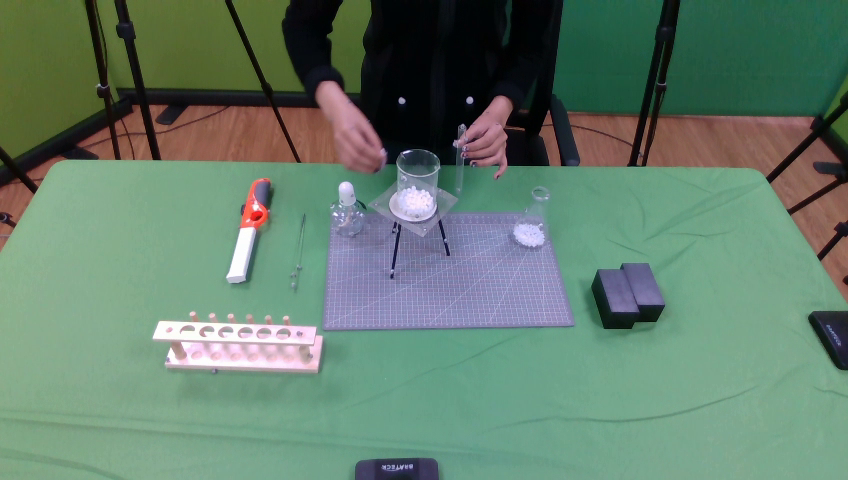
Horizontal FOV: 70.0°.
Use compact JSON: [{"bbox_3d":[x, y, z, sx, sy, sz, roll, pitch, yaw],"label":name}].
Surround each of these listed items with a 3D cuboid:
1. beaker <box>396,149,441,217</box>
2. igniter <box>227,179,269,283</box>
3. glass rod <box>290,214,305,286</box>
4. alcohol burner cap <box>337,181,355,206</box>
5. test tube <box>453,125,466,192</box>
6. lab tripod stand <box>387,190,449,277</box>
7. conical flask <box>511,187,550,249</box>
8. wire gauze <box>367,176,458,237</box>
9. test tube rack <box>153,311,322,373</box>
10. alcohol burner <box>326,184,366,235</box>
[{"bbox_3d":[-0.015,-0.098,1.053,0.074,0.101,0.083,-31,55,-30],"label":"beaker"},{"bbox_3d":[-0.345,-0.027,1.195,0.057,0.025,0.274,-6,46,5],"label":"igniter"},{"bbox_3d":[-0.245,0.015,1.176,0.008,0.008,0.198,1,43,-3],"label":"glass rod"},{"bbox_3d":[-0.151,-0.090,1.158,0.034,0.048,0.033,0,52,0],"label":"alcohol burner cap"},{"bbox_3d":[0.066,-0.150,1.136,0.017,0.151,0.017,1,45,-1],"label":"test tube"},{"bbox_3d":[-0.021,-0.018,1.135,0.148,0.132,0.147,3,44,-3],"label":"lab tripod stand"},{"bbox_3d":[0.217,-0.048,1.190,0.075,0.122,0.075,2,46,-2],"label":"conical flask"},{"bbox_3d":[-0.021,-0.066,1.089,0.124,0.011,0.121,27,47,22],"label":"wire gauze"},{"bbox_3d":[-0.293,0.160,0.978,0.242,0.085,0.066,3,46,-2],"label":"test tube rack"},{"bbox_3d":[-0.152,-0.066,1.184,0.078,0.119,0.077,4,46,-4],"label":"alcohol burner"}]
